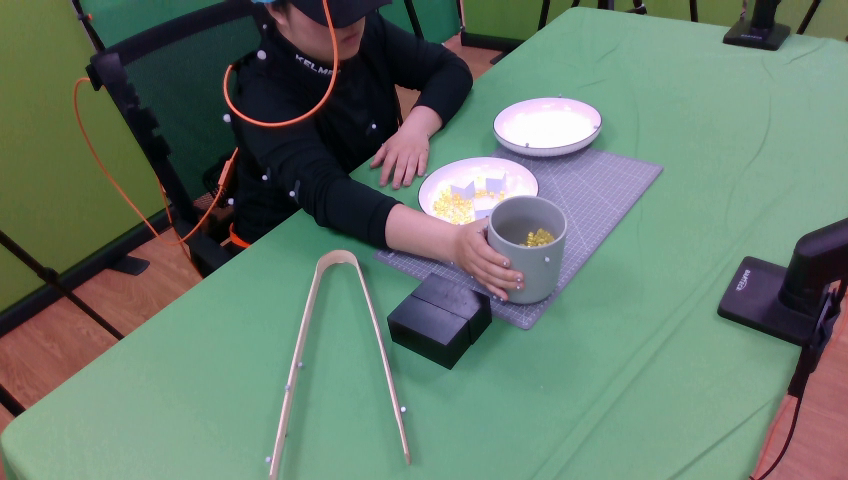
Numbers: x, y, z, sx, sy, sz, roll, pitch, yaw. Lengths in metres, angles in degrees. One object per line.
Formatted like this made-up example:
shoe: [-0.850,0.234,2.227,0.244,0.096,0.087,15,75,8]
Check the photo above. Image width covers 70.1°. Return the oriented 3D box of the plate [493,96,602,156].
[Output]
plate: [0.239,-0.218,1.180,0.209,0.038,0.208,-5,39,4]

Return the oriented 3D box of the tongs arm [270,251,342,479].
tongs arm: [-0.152,0.148,0.826,0.051,0.026,0.382,-6,39,3]

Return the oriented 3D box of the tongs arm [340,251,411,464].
tongs arm: [-0.070,0.136,0.830,0.028,0.028,0.384,-18,40,-5]

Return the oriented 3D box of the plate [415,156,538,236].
plate: [0.090,-0.072,1.034,0.207,0.039,0.206,-5,40,5]

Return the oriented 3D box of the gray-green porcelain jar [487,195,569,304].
gray-green porcelain jar: [0.141,0.018,0.841,0.106,0.127,0.105,-1,45,2]
